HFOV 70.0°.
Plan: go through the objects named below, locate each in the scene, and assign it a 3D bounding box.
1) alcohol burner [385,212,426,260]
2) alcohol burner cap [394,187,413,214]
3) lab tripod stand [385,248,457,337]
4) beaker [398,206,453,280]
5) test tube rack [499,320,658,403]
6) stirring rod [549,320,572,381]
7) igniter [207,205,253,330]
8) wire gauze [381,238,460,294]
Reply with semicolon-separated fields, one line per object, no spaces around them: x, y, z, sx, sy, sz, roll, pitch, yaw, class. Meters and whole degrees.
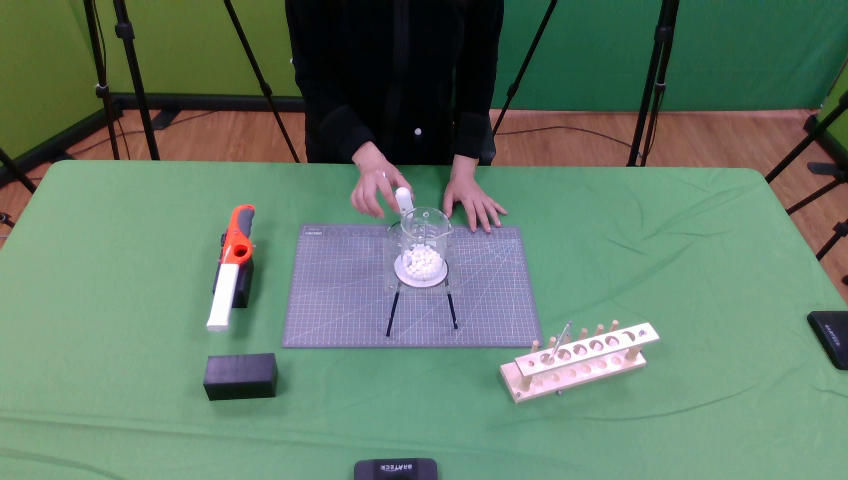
-0.035;-0.020;1.147;0.078;0.120;0.077;1;46;-1;alcohol burner
-0.039;-0.074;1.093;0.034;0.048;0.033;-4;44;4;alcohol burner cap
-0.010;0.087;1.032;0.148;0.132;0.147;1;45;-1;lab tripod stand
0.000;0.008;0.950;0.084;0.101;0.073;10;45;6;beaker
0.252;0.187;0.994;0.243;0.085;0.066;-12;48;-15;test tube rack
0.202;0.167;0.901;0.006;0.177;0.014;-17;54;-11;stirring rod
-0.339;0.038;1.066;0.057;0.025;0.274;2;48;-6;igniter
-0.007;0.042;0.985;0.125;0.011;0.120;-1;43;-2;wire gauze
